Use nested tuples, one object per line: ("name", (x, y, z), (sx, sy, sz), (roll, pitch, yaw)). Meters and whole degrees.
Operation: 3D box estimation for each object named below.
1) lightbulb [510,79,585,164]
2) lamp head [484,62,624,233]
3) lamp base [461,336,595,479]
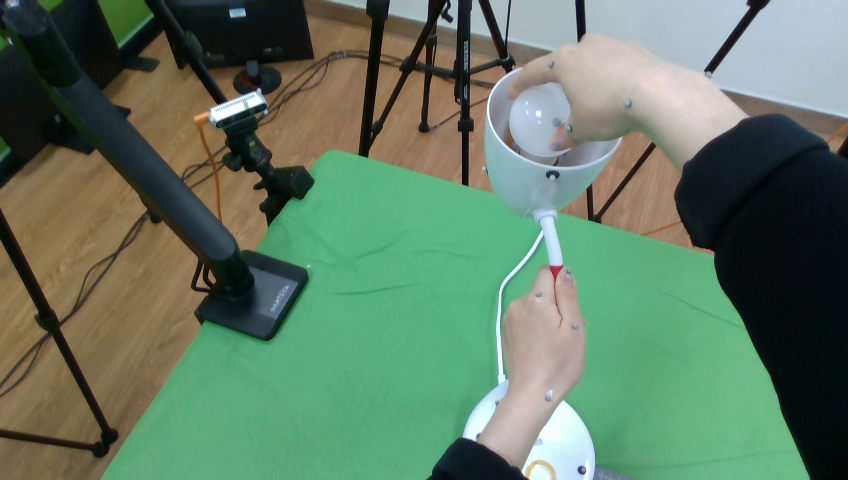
("lightbulb", (0.099, -0.088, 0.509), (0.059, 0.108, 0.059), (1, 62, -1))
("lamp head", (0.104, -0.070, 0.529), (0.112, 0.124, 0.111), (1, 55, -2))
("lamp base", (0.120, 0.198, 0.676), (0.161, 0.182, 0.177), (-19, 54, -13))
